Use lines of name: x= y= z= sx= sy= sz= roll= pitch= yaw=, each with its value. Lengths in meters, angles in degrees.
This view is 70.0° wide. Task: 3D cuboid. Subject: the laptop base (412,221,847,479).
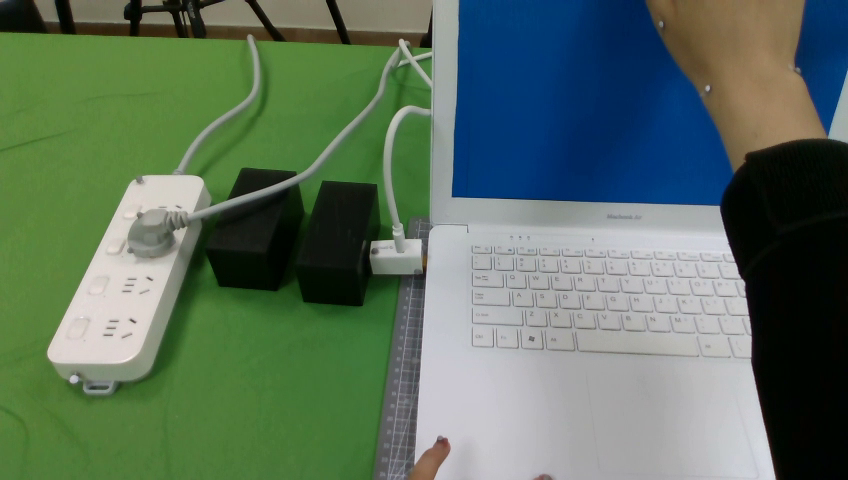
laptop base: x=0.173 y=0.082 z=0.473 sx=0.354 sy=0.023 sz=0.233 roll=2 pitch=51 yaw=1

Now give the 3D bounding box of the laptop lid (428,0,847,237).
laptop lid: x=0.181 y=-0.110 z=0.501 sx=0.357 sy=0.243 sz=0.013 roll=1 pitch=25 yaw=2

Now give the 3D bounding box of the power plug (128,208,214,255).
power plug: x=-0.211 y=0.000 z=0.506 sx=0.072 sy=0.053 sz=0.035 roll=9 pitch=48 yaw=8

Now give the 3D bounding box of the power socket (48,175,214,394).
power socket: x=-0.240 y=0.022 z=0.517 sx=0.072 sy=0.033 sz=0.224 roll=2 pitch=47 yaw=0

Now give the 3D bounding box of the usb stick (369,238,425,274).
usb stick: x=-0.016 y=0.014 z=0.519 sx=0.059 sy=0.027 sz=0.021 roll=1 pitch=46 yaw=1
